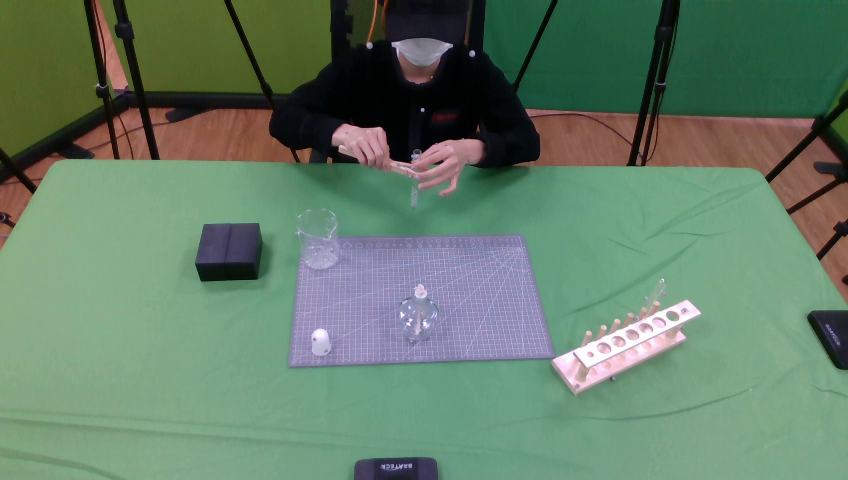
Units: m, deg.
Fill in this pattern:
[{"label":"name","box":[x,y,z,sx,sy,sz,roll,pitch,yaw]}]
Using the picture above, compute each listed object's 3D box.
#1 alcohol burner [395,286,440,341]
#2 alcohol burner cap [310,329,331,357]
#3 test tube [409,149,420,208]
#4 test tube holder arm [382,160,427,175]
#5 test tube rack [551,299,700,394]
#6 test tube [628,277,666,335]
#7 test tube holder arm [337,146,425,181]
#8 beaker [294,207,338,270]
[{"label":"alcohol burner","box":[-0.010,0.116,1.018,0.078,0.119,0.077,3,47,-3]},{"label":"alcohol burner cap","box":[-0.173,0.168,1.005,0.034,0.048,0.033,2,46,-2]},{"label":"test tube","box":[-0.019,-0.116,1.176,0.017,0.151,0.017,2,50,-3]},{"label":"test tube holder arm","box":[-0.039,-0.139,1.165,0.088,0.015,0.010,8,41,-7]},{"label":"test tube rack","box":[0.339,0.166,1.021,0.242,0.085,0.066,-19,50,-21]},{"label":"test tube","box":[0.371,0.112,1.014,0.017,0.151,0.017,3,47,-3]},{"label":"test tube holder arm","box":[-0.083,-0.147,1.161,0.178,0.015,0.013,18,40,4]},{"label":"beaker","box":[-0.196,0.003,1.123,0.074,0.101,0.083,-23,53,-24]}]
